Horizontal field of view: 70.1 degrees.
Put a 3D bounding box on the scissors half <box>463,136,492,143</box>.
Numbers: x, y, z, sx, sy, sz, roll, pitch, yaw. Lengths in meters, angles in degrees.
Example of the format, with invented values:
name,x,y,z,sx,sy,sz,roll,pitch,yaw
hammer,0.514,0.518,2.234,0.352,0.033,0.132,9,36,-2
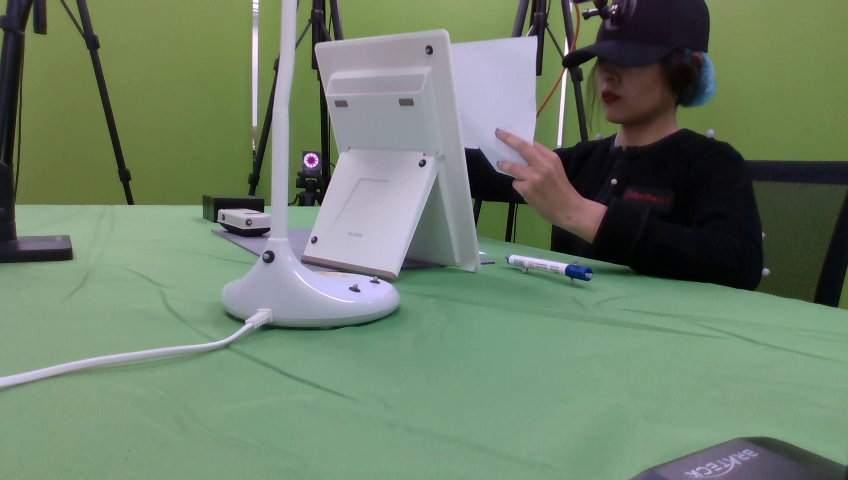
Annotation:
name,x,y,z,sx,sy,sz,roll,pitch,yaw
scissors half,0.052,-0.169,1.057,0.174,0.040,0.013,5,-33,46

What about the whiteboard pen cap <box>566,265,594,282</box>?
name,x,y,z,sx,sy,sz,roll,pitch,yaw
whiteboard pen cap,0.185,0.040,0.722,0.018,0.018,0.033,-3,7,-33

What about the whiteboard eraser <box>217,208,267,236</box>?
name,x,y,z,sx,sy,sz,roll,pitch,yaw
whiteboard eraser,-0.309,-0.031,1.044,0.056,0.042,0.112,-2,9,-40

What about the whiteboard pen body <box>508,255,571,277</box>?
name,x,y,z,sx,sy,sz,roll,pitch,yaw
whiteboard pen body,0.155,0.034,0.772,0.017,0.017,0.140,-2,6,-31

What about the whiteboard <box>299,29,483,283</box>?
name,x,y,z,sx,sy,sz,roll,pitch,yaw
whiteboard,-0.074,-0.082,0.742,0.216,0.305,0.144,9,29,38

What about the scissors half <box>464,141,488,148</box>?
name,x,y,z,sx,sy,sz,roll,pitch,yaw
scissors half,0.066,-0.185,1.062,0.040,0.013,0.174,-40,35,-3

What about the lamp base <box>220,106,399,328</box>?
name,x,y,z,sx,sy,sz,roll,pitch,yaw
lamp base,-0.102,-0.023,0.531,0.160,0.180,0.179,4,10,10
